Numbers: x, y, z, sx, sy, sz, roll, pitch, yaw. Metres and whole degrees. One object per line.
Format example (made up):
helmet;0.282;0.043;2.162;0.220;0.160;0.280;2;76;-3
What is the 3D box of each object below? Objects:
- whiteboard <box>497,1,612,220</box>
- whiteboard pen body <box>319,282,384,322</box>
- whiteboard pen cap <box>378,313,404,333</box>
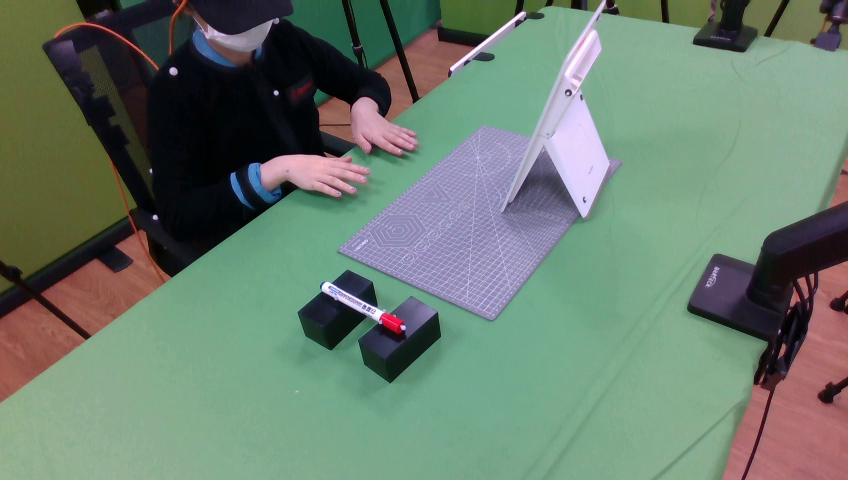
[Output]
whiteboard;0.260;-0.177;0.963;0.143;0.306;0.217;28;49;9
whiteboard pen body;-0.088;0.086;0.806;0.139;0.017;0.017;23;49;32
whiteboard pen cap;-0.043;0.106;0.777;0.032;0.017;0.017;23;49;33
